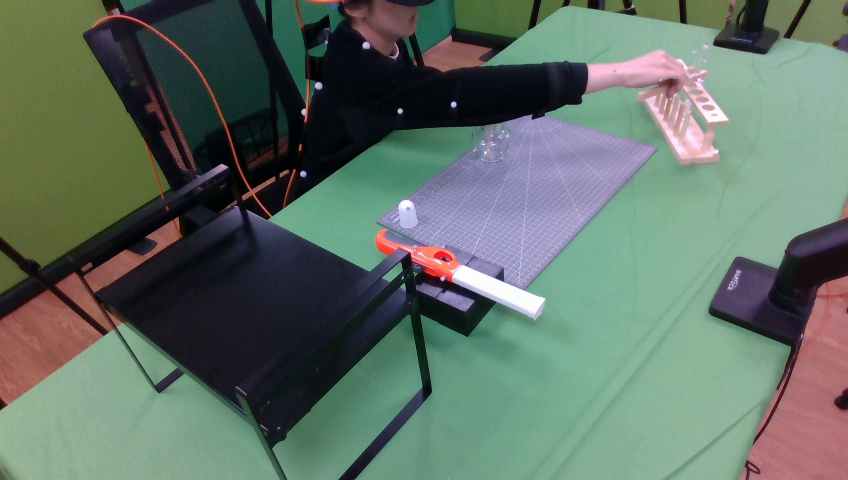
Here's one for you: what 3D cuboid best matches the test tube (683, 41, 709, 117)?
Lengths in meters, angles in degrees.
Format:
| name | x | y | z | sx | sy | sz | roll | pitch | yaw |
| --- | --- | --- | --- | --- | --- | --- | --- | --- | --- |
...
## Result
| name | x | y | z | sx | sy | sz | roll | pitch | yaw |
| --- | --- | --- | --- | --- | --- | --- | --- | --- | --- |
| test tube | 0.500 | -0.294 | 1.116 | 0.017 | 0.151 | 0.017 | -3 | 43 | 3 |

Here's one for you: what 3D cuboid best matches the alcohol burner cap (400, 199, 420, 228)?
| name | x | y | z | sx | sy | sz | roll | pitch | yaw |
| --- | --- | --- | --- | --- | --- | --- | --- | --- | --- |
| alcohol burner cap | -0.025 | -0.047 | 1.014 | 0.034 | 0.048 | 0.033 | -4 | 42 | 4 |

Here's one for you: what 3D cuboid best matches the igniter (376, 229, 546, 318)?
| name | x | y | z | sx | sy | sz | roll | pitch | yaw |
| --- | --- | --- | --- | --- | --- | --- | --- | --- | --- |
| igniter | 0.040 | 0.042 | 0.845 | 0.274 | 0.025 | 0.057 | 23 | 46 | 27 |

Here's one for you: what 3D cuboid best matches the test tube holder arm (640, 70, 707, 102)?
| name | x | y | z | sx | sy | sz | roll | pitch | yaw |
| --- | --- | --- | --- | --- | --- | --- | --- | --- | --- |
| test tube holder arm | 0.440 | -0.271 | 1.061 | 0.179 | 0.015 | 0.013 | -25 | 38 | -29 |

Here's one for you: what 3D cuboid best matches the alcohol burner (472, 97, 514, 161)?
| name | x | y | z | sx | sy | sz | roll | pitch | yaw |
| --- | --- | --- | --- | --- | --- | --- | --- | --- | --- |
| alcohol burner | 0.127 | -0.208 | 1.123 | 0.078 | 0.119 | 0.077 | -5 | 39 | 5 |

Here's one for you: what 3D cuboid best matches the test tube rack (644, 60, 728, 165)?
| name | x | y | z | sx | sy | sz | roll | pitch | yaw |
| --- | --- | --- | --- | --- | --- | --- | --- | --- | --- |
| test tube rack | 0.485 | -0.246 | 1.140 | 0.067 | 0.085 | 0.241 | -5 | 41 | 4 |

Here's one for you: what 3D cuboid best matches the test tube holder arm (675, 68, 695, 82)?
| name | x | y | z | sx | sy | sz | roll | pitch | yaw |
| --- | --- | --- | --- | --- | --- | --- | --- | --- | --- |
| test tube holder arm | 0.469 | -0.291 | 1.089 | 0.010 | 0.015 | 0.088 | 21 | 40 | 32 |
